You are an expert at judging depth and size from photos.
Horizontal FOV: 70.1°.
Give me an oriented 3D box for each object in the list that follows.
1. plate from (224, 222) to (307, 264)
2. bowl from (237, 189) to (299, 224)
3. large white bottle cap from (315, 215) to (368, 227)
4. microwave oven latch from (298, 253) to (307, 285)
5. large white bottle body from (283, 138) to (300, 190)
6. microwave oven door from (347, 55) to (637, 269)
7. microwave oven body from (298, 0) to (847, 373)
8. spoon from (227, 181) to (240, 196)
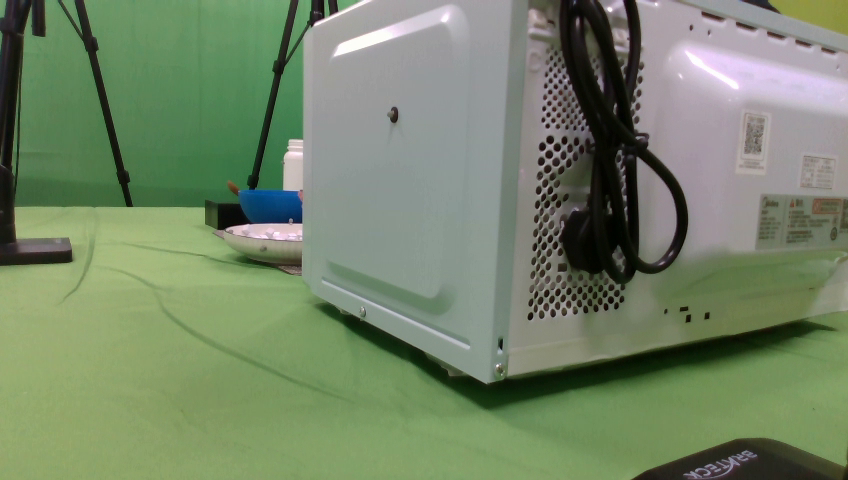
[{"bbox_3d":[-0.172,0.004,0.849,0.209,0.038,0.209,2,7,0],"label":"plate"},{"bbox_3d":[-0.247,-0.046,1.055,0.151,0.077,0.151,3,8,0],"label":"bowl"},{"bbox_3d":[-0.177,-0.041,1.309,0.115,0.018,0.115,2,6,0],"label":"large white bottle cap"},{"bbox_3d":[-0.081,0.027,0.582,0.079,0.029,0.030,-1,7,-32],"label":"microwave oven latch"},{"bbox_3d":[-0.265,-0.144,1.423,0.131,0.184,0.130,2,7,0],"label":"large white bottle body"},{"bbox_3d":[0.088,-0.087,0.739,0.357,0.243,0.039,1,8,-14],"label":"microwave oven door"},{"bbox_3d":[0.151,-0.055,0.543,0.444,0.260,0.324,-2,7,-33],"label":"microwave oven body"},{"bbox_3d":[-0.315,-0.074,1.235,0.195,0.021,0.041,24,-9,-37],"label":"spoon"}]
